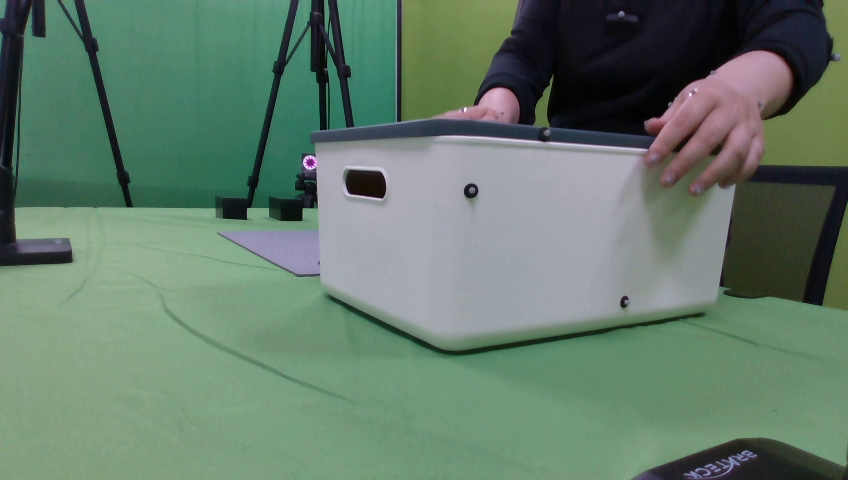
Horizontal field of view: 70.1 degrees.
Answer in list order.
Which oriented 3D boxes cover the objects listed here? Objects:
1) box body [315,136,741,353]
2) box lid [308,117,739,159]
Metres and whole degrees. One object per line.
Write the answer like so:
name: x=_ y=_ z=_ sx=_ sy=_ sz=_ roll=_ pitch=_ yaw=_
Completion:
box body: x=0.098 y=-0.012 z=0.605 sx=0.366 sy=0.160 sz=0.253 roll=-2 pitch=8 yaw=-33
box lid: x=0.096 y=-0.092 z=0.599 sx=0.373 sy=0.015 sz=0.262 roll=-2 pitch=7 yaw=-33
